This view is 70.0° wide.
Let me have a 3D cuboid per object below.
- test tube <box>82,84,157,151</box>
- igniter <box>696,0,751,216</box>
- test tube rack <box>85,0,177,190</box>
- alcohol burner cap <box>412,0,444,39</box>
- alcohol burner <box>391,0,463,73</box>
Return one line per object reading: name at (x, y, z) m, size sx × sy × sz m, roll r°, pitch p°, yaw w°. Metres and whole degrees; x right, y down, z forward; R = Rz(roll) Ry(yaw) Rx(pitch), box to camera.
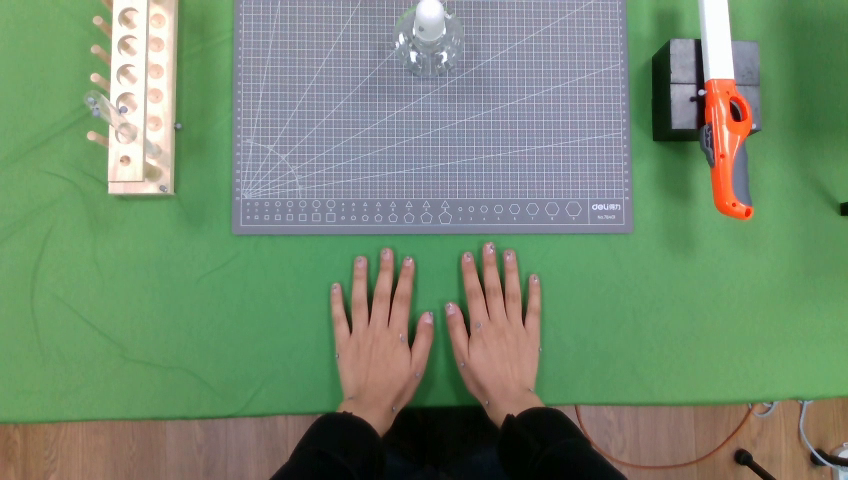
test tube at (-0.288, -0.113, 0.583) m, size 0.017 × 0.150 × 0.017 m, roll 1°, pitch 81°, yaw -5°
igniter at (0.316, -0.161, 0.646) m, size 0.057 × 0.025 × 0.275 m, roll -2°, pitch 83°, yaw -5°
test tube rack at (-0.310, -0.179, 0.636) m, size 0.067 × 0.085 × 0.242 m, roll 0°, pitch 86°, yaw -2°
alcohol burner cap at (0.004, -0.225, 0.601) m, size 0.034 × 0.048 × 0.034 m, roll 0°, pitch 86°, yaw 0°
alcohol burner at (0.004, -0.223, 0.637) m, size 0.078 × 0.119 × 0.078 m, roll 0°, pitch 86°, yaw -1°
